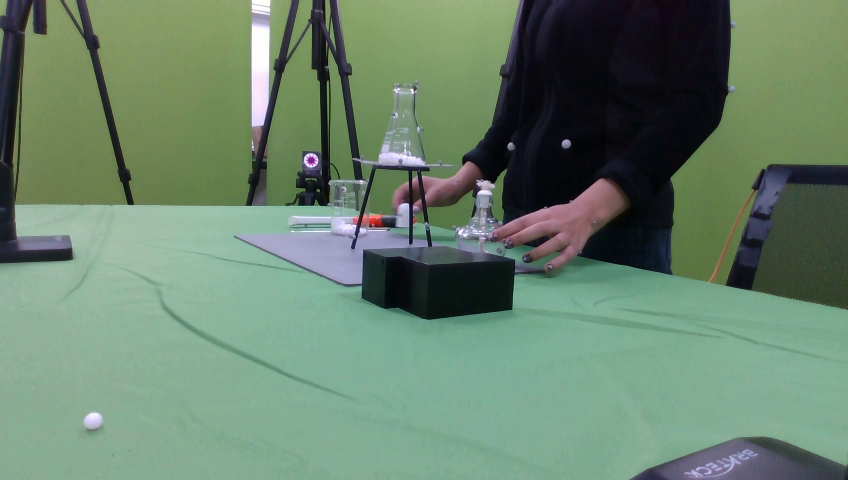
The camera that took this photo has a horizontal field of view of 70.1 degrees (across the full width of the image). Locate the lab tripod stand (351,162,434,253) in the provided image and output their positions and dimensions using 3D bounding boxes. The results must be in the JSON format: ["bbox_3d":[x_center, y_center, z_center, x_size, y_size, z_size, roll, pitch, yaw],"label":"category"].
[{"bbox_3d":[-0.034,-0.052,0.933,0.148,0.131,0.148,4,7,0],"label":"lab tripod stand"}]

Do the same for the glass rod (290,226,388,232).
[{"bbox_3d":[-0.161,-0.023,1.177,0.201,0.008,0.008,-2,8,-29],"label":"glass rod"}]

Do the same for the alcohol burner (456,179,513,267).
[{"bbox_3d":[0.082,-0.023,0.823,0.078,0.119,0.078,0,8,0],"label":"alcohol burner"}]

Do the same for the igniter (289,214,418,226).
[{"bbox_3d":[-0.141,-0.042,1.258,0.278,0.025,0.057,-1,-2,-30],"label":"igniter"}]

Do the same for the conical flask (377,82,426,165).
[{"bbox_3d":[-0.032,-0.175,0.918,0.075,0.122,0.075,3,8,0],"label":"conical flask"}]

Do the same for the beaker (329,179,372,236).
[{"bbox_3d":[-0.137,-0.061,1.101,0.084,0.100,0.074,4,7,20],"label":"beaker"}]

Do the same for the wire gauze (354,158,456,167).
[{"bbox_3d":[-0.030,-0.117,0.927,0.122,0.011,0.124,0,5,-36],"label":"wire gauze"}]

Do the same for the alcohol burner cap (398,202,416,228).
[{"bbox_3d":[-0.031,-0.046,1.119,0.034,0.048,0.034,3,3,0],"label":"alcohol burner cap"}]
